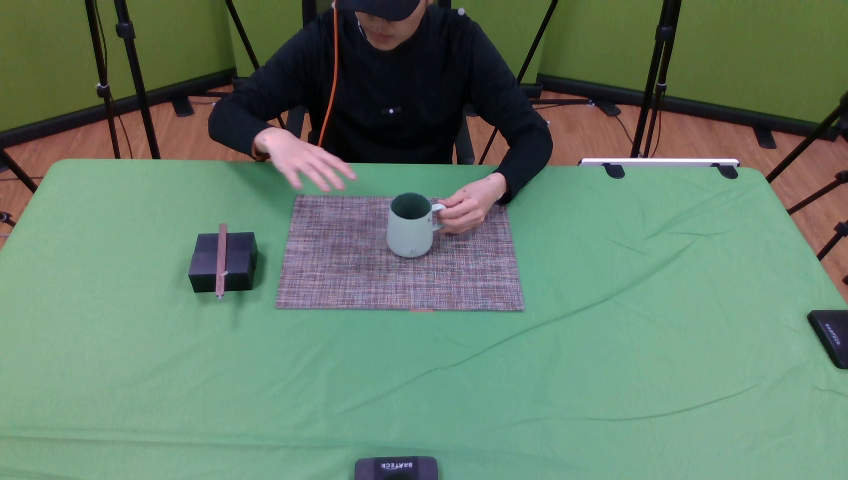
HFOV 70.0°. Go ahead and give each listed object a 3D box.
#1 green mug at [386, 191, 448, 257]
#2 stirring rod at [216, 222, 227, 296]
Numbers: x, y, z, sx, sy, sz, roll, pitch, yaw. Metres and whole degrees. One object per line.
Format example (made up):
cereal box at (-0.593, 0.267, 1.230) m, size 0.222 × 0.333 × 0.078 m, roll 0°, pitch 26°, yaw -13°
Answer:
green mug at (-0.012, -0.034, 1.165) m, size 0.125 × 0.105 × 0.092 m, roll -17°, pitch 49°, yaw -19°
stirring rod at (-0.361, 0.030, 1.082) m, size 0.014 × 0.006 × 0.175 m, roll -6°, pitch 48°, yaw -10°
